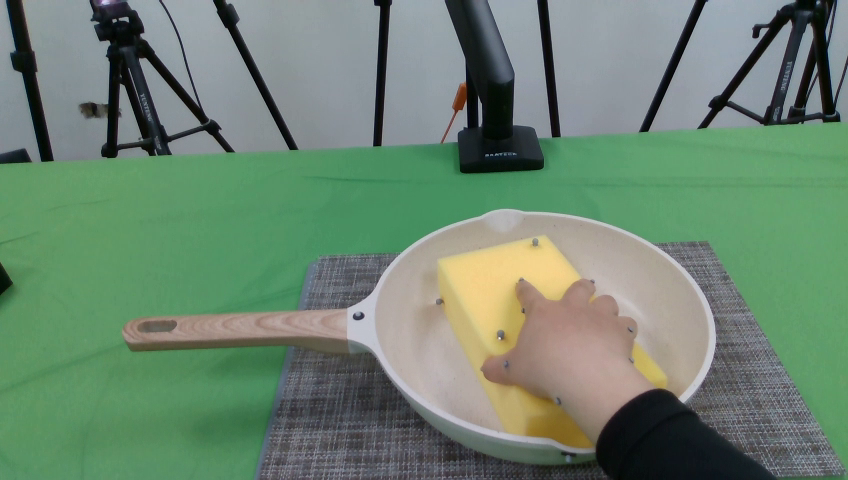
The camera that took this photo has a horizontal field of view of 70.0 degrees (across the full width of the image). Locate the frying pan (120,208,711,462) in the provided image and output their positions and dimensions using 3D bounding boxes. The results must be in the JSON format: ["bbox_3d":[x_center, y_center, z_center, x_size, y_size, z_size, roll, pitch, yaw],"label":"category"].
[{"bbox_3d":[-0.007,0.075,0.534,0.489,0.103,0.303,1,34,-7],"label":"frying pan"}]

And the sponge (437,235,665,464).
[{"bbox_3d":[0.099,0.084,0.542,0.118,0.061,0.204,-13,36,-13],"label":"sponge"}]
